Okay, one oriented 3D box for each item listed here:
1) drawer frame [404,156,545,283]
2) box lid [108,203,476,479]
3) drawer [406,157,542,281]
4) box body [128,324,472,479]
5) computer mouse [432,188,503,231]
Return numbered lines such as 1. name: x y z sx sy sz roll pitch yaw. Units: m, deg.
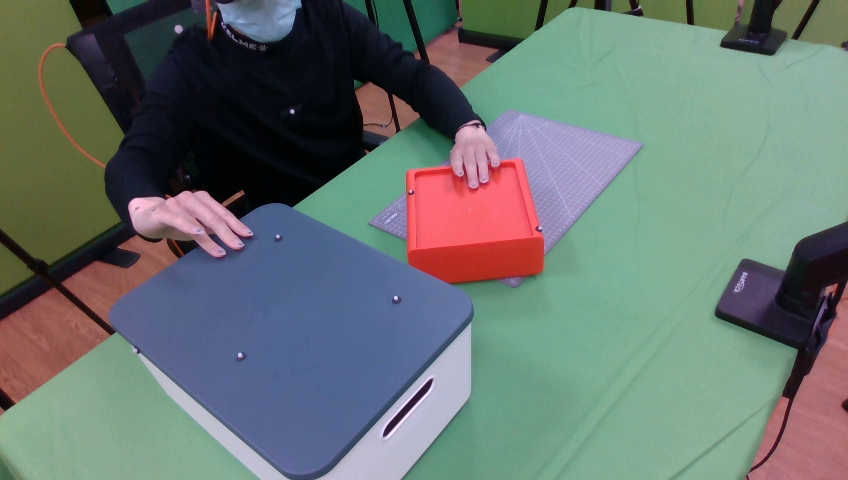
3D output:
1. drawer frame: 0.073 -0.036 0.953 0.202 0.083 0.212 -6 41 1
2. box lid: -0.156 0.079 0.678 0.368 0.015 0.264 24 49 32
3. drawer: 0.072 -0.037 0.957 0.194 0.073 0.210 -5 41 1
4. box body: -0.147 0.135 0.725 0.361 0.161 0.255 25 50 32
5. computer mouse: 0.071 -0.051 0.994 0.117 0.041 0.062 -10 44 6
